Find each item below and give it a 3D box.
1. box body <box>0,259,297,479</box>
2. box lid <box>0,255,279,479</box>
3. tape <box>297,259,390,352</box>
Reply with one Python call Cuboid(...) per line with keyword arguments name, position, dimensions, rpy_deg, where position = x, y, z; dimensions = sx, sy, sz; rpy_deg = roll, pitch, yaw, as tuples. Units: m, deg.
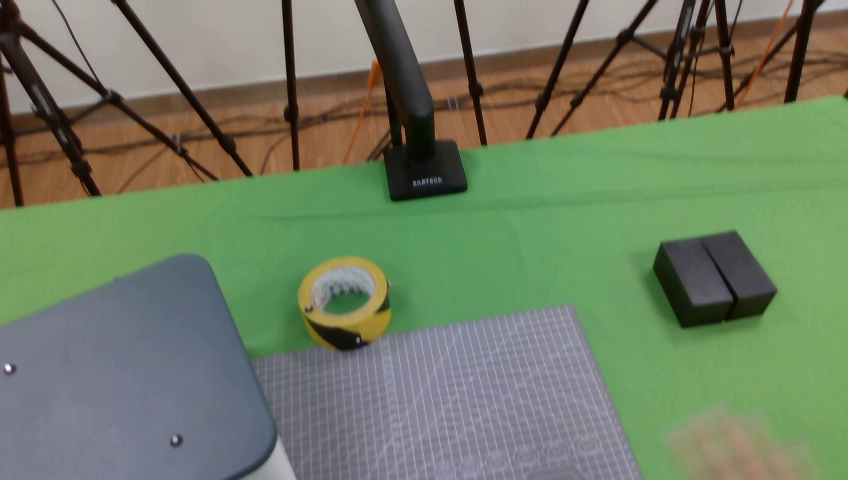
Cuboid(name="box body", position=(-0.332, 0.214, 0.586), dimensions=(0.364, 0.162, 0.251), rpy_deg=(-24, 52, -17))
Cuboid(name="box lid", position=(-0.334, 0.165, 0.530), dimensions=(0.372, 0.015, 0.260), rpy_deg=(-24, 52, -17))
Cuboid(name="tape", position=(-0.101, 0.081, 0.765), dimensions=(0.117, 0.053, 0.115), rpy_deg=(-2, 46, 2))
